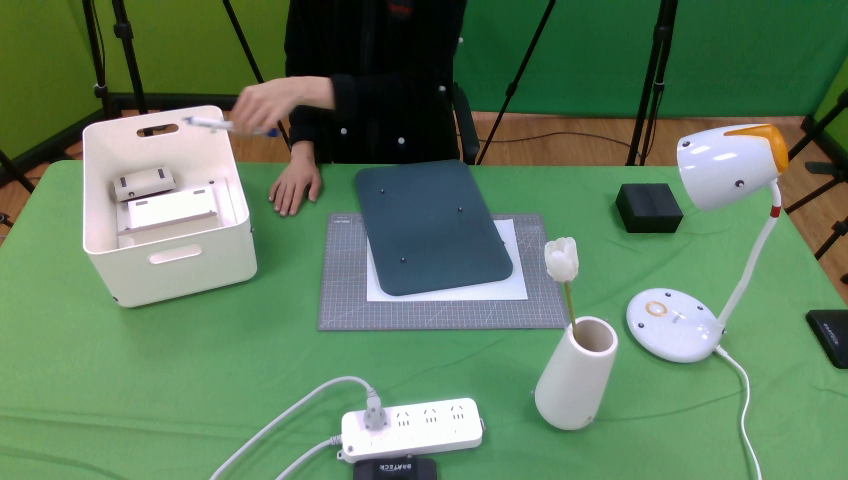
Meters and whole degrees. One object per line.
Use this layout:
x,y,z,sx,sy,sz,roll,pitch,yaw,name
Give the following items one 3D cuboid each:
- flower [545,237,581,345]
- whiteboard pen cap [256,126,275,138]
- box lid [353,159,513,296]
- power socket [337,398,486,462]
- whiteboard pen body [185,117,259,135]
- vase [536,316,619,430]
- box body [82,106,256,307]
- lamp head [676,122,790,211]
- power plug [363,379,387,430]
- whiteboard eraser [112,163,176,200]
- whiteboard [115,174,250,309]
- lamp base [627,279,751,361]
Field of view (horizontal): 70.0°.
0.213,0.137,0.846,0.038,0.364,0.044,22,55,40,flower
-0.277,-0.189,1.056,0.033,0.018,0.018,5,45,-19,whiteboard pen cap
0.009,-0.039,1.242,0.264,0.015,0.369,-8,47,-12,box lid
-0.018,0.285,0.914,0.227,0.033,0.071,-4,46,-8,power socket
-0.332,-0.193,1.034,0.141,0.017,0.017,4,45,-20,whiteboard pen body
0.229,0.200,0.901,0.098,0.201,0.097,3,46,-3,vase
-0.471,-0.070,1.131,0.254,0.161,0.361,-14,49,-17,box body
0.423,-0.104,0.819,0.122,0.113,0.112,-13,33,40,lamp head
-0.071,0.252,0.911,0.035,0.053,0.072,3,40,0,power plug
-0.568,-0.116,1.230,0.113,0.042,0.055,-17,59,-21,whiteboard eraser
-0.473,-0.055,1.130,0.217,0.144,0.303,-15,50,-16,whiteboard
0.460,0.100,1.027,0.178,0.181,0.160,27,51,17,lamp base
